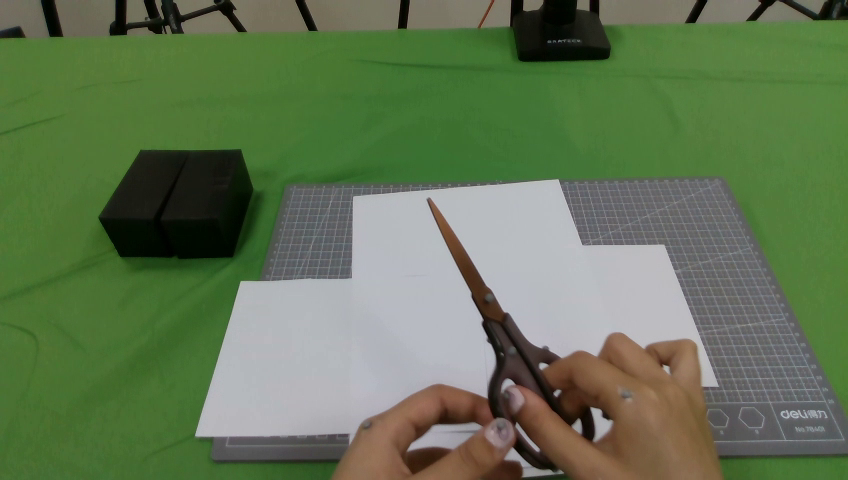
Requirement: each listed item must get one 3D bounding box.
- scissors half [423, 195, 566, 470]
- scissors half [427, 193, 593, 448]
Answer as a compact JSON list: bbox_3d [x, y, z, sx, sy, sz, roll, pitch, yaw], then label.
[{"bbox_3d":[0.034,0.048,0.351,0.040,0.013,0.174,-4,64,-44],"label":"scissors half"},{"bbox_3d":[0.048,0.044,0.364,0.040,0.013,0.174,-26,80,-43],"label":"scissors half"}]
